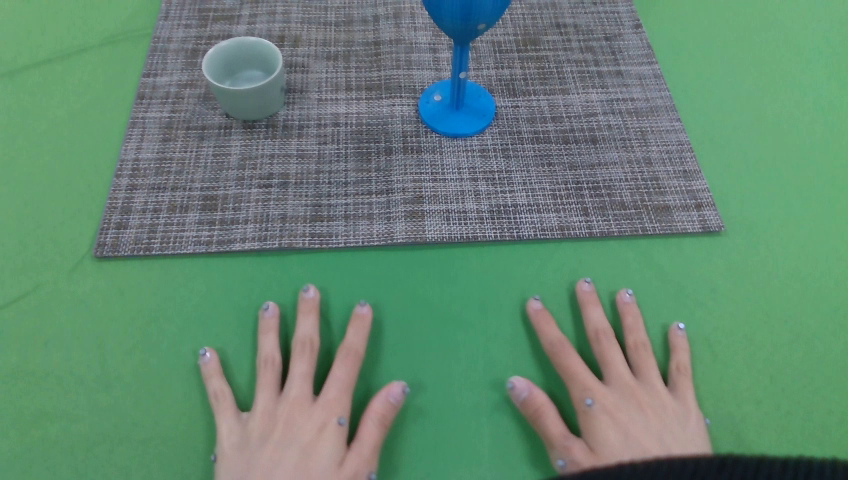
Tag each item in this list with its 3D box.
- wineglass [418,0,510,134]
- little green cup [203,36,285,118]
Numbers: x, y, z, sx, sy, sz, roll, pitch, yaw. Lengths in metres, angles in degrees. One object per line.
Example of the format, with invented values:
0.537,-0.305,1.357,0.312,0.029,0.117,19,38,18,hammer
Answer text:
0.028,-0.160,0.432,0.074,0.173,0.073,1,56,-1,wineglass
-0.142,-0.130,0.488,0.061,0.039,0.061,1,56,-1,little green cup
